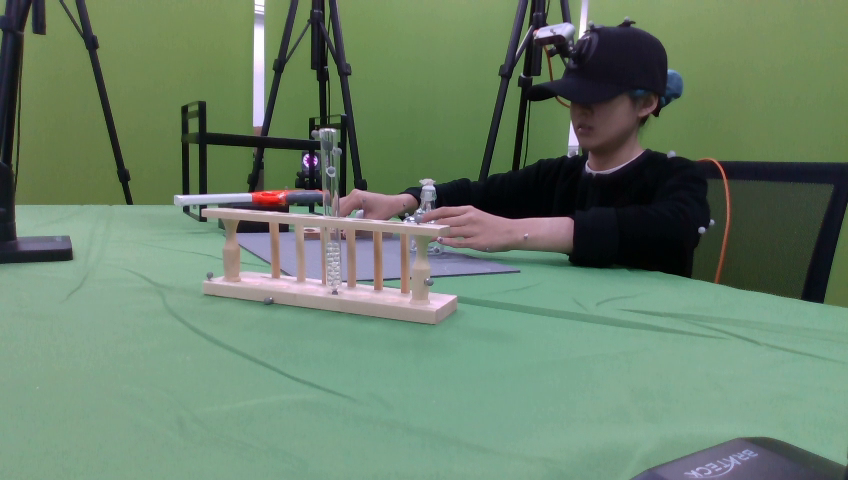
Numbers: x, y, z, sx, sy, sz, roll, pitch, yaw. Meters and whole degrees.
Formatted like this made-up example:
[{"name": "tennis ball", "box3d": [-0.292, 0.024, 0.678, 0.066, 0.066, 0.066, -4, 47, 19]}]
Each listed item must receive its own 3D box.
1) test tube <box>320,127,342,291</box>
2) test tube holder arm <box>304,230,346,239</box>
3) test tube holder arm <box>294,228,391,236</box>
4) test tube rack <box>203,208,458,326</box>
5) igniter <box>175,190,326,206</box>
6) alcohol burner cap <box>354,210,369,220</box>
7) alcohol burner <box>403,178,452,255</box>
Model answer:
[{"name": "test tube", "box3d": [-0.084, -0.027, 0.554, 0.017, 0.150, 0.017, -1, 7, 0]}, {"name": "test tube holder arm", "box3d": [-0.174, -0.009, 1.027, 0.088, 0.015, 0.010, 0, 43, -31]}, {"name": "test tube holder arm", "box3d": [-0.138, -0.013, 1.054, 0.179, 0.015, 0.013, -1, 43, -32]}, {"name": "test tube rack", "box3d": [-0.090, 0.019, 0.579, 0.241, 0.085, 0.067, 5, 7, 19]}, {"name": "igniter", "box3d": [-0.315, -0.079, 1.128, 0.278, 0.025, 0.057, -5, 13, -34]}, {"name": "alcohol burner cap", "box3d": [-0.118, -0.033, 1.134, 0.034, 0.048, 0.034, 2, 7, 0]}, {"name": "alcohol burner", "box3d": [0.005, -0.036, 0.923, 0.078, 0.119, 0.078, 5, 7, 0]}]
